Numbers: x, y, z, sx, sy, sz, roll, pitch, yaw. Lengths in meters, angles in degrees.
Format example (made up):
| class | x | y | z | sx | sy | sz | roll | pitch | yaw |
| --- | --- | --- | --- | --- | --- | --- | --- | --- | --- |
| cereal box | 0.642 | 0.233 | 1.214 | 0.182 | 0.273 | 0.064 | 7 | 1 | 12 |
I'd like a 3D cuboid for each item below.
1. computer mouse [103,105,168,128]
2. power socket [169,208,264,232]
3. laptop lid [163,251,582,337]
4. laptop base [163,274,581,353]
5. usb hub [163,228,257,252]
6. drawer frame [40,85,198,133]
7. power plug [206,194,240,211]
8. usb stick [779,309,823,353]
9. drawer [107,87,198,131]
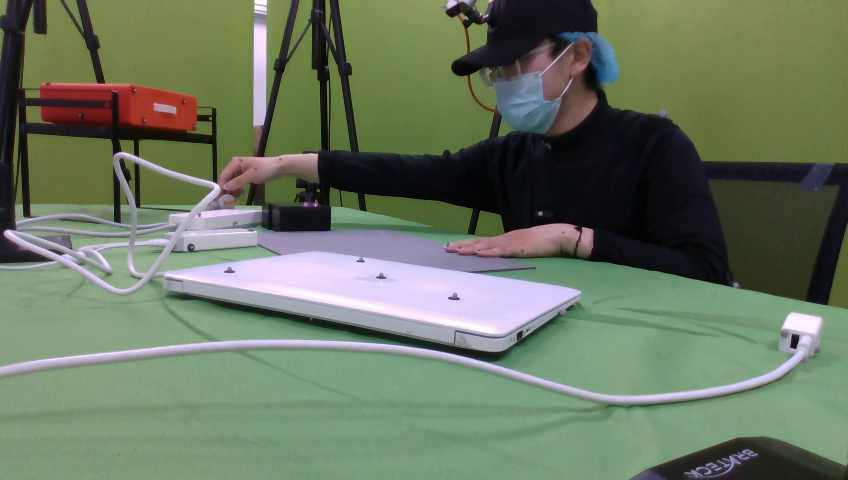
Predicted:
| class | x | y | z | sx | sy | sz | roll | pitch | yaw |
| --- | --- | --- | --- | --- | --- | --- | --- | --- | --- |
| computer mouse | -0.582 | -0.249 | 1.223 | 0.118 | 0.041 | 0.062 | 2 | 3 | -39 |
| power socket | -0.381 | -0.038 | 1.128 | 0.072 | 0.032 | 0.227 | 4 | 8 | 16 |
| laptop lid | -0.045 | 0.040 | 0.598 | 0.355 | 0.013 | 0.243 | 7 | 7 | 30 |
| laptop base | -0.046 | 0.053 | 0.598 | 0.353 | 0.023 | 0.236 | 6 | 6 | 28 |
| usb hub | -0.314 | 0.000 | 0.894 | 0.049 | 0.025 | 0.126 | 9 | 11 | 41 |
| drawer frame | -0.612 | -0.266 | 1.235 | 0.213 | 0.082 | 0.202 | 4 | 8 | 15 |
| power plug | -0.403 | -0.061 | 1.208 | 0.052 | 0.072 | 0.035 | 8 | -35 | 29 |
| usb stick | 0.311 | 0.072 | 0.497 | 0.027 | 0.021 | 0.059 | 7 | 15 | 34 |
| drawer | -0.609 | -0.265 | 1.235 | 0.211 | 0.073 | 0.195 | 4 | 8 | 16 |
